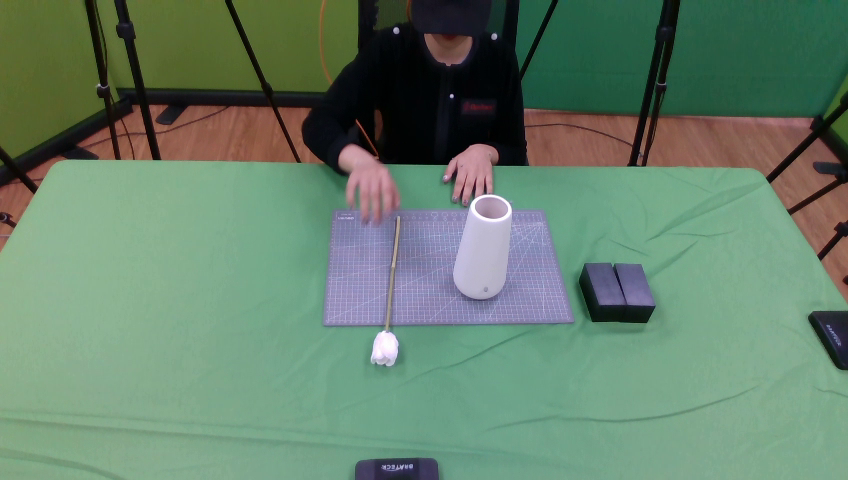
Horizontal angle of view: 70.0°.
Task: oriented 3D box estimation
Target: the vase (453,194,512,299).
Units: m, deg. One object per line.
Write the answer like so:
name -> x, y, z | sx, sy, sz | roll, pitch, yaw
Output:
vase -> 0.107, 0.016, 1.065 | 0.098, 0.201, 0.097 | 3, 47, -3

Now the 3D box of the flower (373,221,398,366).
flower -> -0.061, 0.080, 1.122 | 0.044, 0.038, 0.359 | -26, 36, 22
